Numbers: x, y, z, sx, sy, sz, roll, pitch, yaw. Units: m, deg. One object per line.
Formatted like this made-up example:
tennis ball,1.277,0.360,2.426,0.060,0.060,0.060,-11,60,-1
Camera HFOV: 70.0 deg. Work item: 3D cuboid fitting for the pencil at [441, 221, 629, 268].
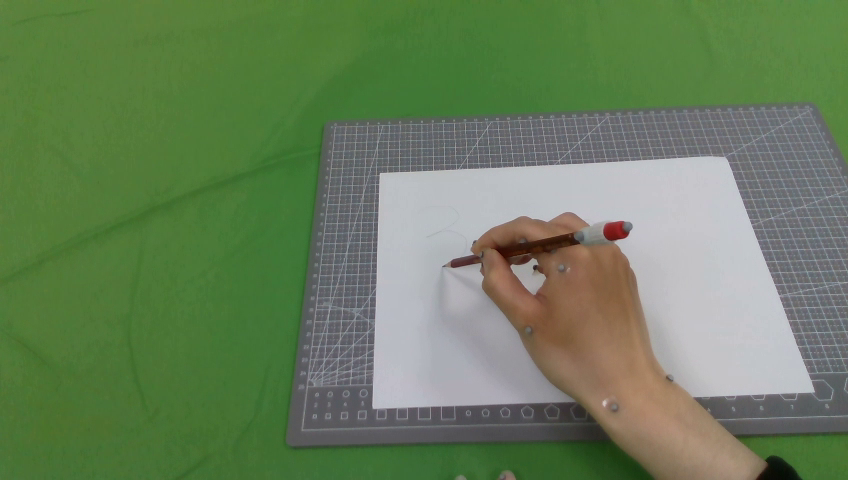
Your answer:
pencil,0.056,0.007,0.383,0.012,0.193,0.012,4,81,-26
